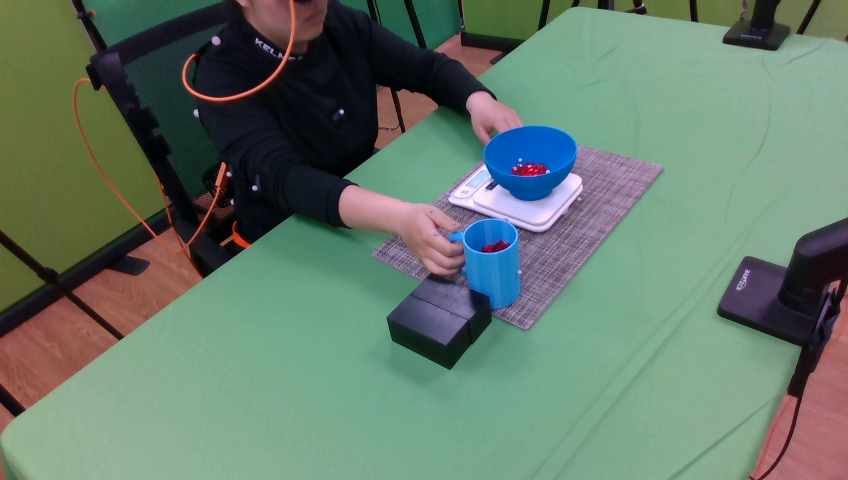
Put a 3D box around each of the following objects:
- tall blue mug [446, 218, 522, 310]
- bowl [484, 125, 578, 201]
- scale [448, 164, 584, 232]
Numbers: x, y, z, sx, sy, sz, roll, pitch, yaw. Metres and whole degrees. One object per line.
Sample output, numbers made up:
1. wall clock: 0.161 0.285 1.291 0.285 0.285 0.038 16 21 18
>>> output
1. tall blue mug: 0.082 0.034 0.852 0.107 0.108 0.077 -1 41 10
2. bowl: 0.176 -0.117 0.991 0.151 0.077 0.150 -6 40 5
3. scale: 0.156 -0.085 1.039 0.199 0.032 0.149 22 49 32
